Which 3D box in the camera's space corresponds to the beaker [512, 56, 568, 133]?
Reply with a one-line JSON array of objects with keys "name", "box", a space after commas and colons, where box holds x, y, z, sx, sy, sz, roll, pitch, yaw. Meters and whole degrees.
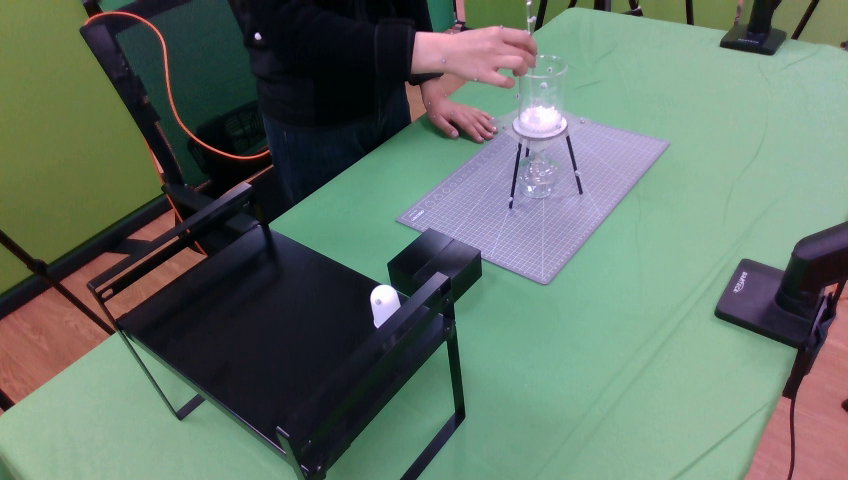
[{"name": "beaker", "box": [0.181, -0.225, 0.946, 0.084, 0.101, 0.074, 2, 41, 12]}]

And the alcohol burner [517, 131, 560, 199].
[{"name": "alcohol burner", "box": [0.193, -0.131, 1.026, 0.078, 0.119, 0.077, -4, 38, 4]}]

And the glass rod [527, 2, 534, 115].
[{"name": "glass rod", "box": [0.161, -0.266, 0.908, 0.008, 0.201, 0.008, -6, 52, 8]}]

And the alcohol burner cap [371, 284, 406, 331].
[{"name": "alcohol burner cap", "box": [-0.037, 0.065, 0.608, 0.034, 0.048, 0.033, -4, 41, 4]}]

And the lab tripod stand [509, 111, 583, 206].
[{"name": "lab tripod stand", "box": [0.198, -0.139, 1.019, 0.148, 0.132, 0.147, -3, 39, 3]}]

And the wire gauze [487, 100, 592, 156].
[{"name": "wire gauze", "box": [0.185, -0.187, 0.975, 0.122, 0.011, 0.124, -28, 46, -22]}]
